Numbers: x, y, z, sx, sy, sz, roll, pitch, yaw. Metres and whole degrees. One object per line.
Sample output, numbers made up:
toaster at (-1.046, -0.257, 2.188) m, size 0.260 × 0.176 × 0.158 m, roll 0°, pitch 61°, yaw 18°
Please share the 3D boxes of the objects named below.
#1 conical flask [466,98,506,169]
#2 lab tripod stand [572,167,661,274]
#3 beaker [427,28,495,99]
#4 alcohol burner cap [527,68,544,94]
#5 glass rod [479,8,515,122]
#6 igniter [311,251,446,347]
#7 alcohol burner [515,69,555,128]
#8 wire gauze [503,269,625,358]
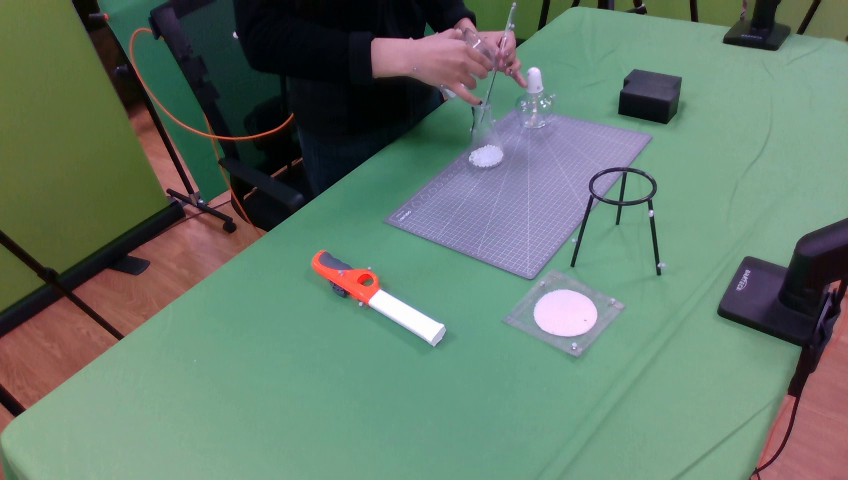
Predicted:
conical flask at (0.111, -0.199, 1.116) m, size 0.075 × 0.122 × 0.075 m, roll -5°, pitch 40°, yaw 5°
lab tripod stand at (0.284, -0.030, 0.879) m, size 0.148 × 0.132 × 0.147 m, roll -7°, pitch 38°, yaw 6°
beaker at (0.062, -0.296, 1.034) m, size 0.100 × 0.084 × 0.073 m, roll -43°, pitch 33°, yaw 4°
alcohol burner cap at (0.216, -0.312, 1.179) m, size 0.034 × 0.048 × 0.033 m, roll -9°, pitch 40°, yaw 8°
glass rod at (0.127, -0.303, 1.059) m, size 0.008 × 0.200 × 0.008 m, roll 14°, pitch 20°, yaw -5°
igniter at (-0.078, 0.081, 0.899) m, size 0.274 × 0.025 × 0.057 m, roll 27°, pitch 62°, yaw 35°
alcohol burner at (0.221, -0.285, 1.203) m, size 0.078 × 0.119 × 0.077 m, roll -4°, pitch 39°, yaw 4°
wire gauze at (0.194, 0.100, 0.840) m, size 0.120 × 0.011 × 0.125 m, roll 27°, pitch 54°, yaw 36°
